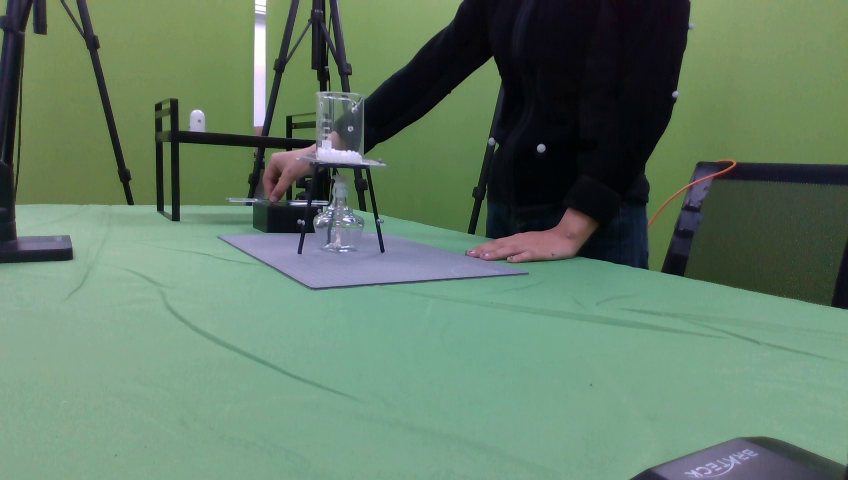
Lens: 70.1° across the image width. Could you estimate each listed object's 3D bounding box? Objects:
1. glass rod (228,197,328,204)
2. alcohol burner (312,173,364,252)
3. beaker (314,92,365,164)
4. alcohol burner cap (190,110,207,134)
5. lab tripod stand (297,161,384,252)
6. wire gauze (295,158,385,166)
[{"bbox_3d":[-0.273,-0.074,1.152,0.201,0.008,0.008,0,7,-36],"label":"glass rod"},{"bbox_3d":[-0.129,-0.042,0.910,0.078,0.119,0.078,4,8,0],"label":"alcohol burner"},{"bbox_3d":[-0.123,-0.164,0.893,0.073,0.100,0.084,7,9,30],"label":"beaker"},{"bbox_3d":[-0.463,-0.242,1.240,0.034,0.048,0.034,2,7,0],"label":"alcohol burner cap"},{"bbox_3d":[-0.130,-0.051,0.903,0.148,0.131,0.148,3,9,0],"label":"lab tripod stand"},{"bbox_3d":[-0.128,-0.117,0.901,0.125,0.011,0.121,-2,8,-14],"label":"wire gauze"}]
